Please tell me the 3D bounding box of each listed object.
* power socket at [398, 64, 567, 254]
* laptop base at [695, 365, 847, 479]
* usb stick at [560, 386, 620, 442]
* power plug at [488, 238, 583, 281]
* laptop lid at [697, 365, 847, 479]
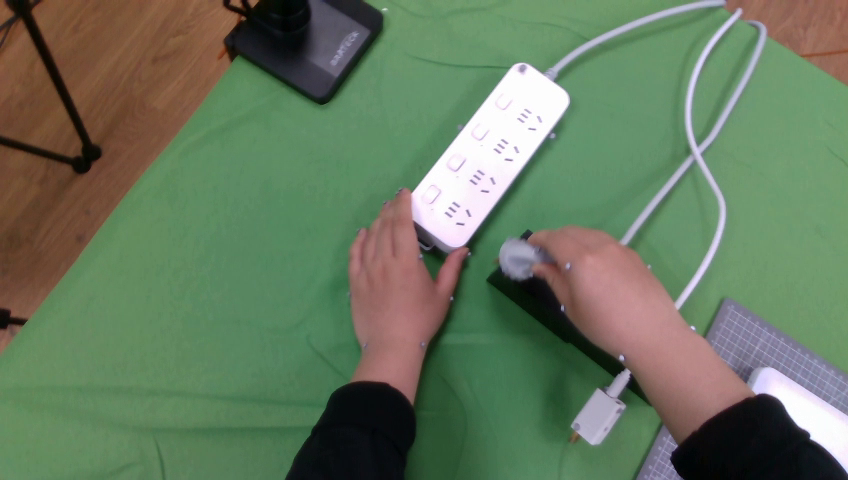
[{"bbox_3d":[0.060,-0.083,0.606,0.072,0.032,0.226,38,75,2],"label":"power socket"},{"bbox_3d":[0.407,0.307,0.569,0.354,0.023,0.235,33,78,1],"label":"laptop base"},{"bbox_3d":[0.147,0.162,0.547,0.027,0.022,0.059,43,104,33],"label":"usb stick"},{"bbox_3d":[0.091,0.027,0.518,0.073,0.052,0.035,36,61,-16],"label":"power plug"},{"bbox_3d":[0.407,0.307,0.557,0.356,0.013,0.241,34,77,1],"label":"laptop lid"}]
